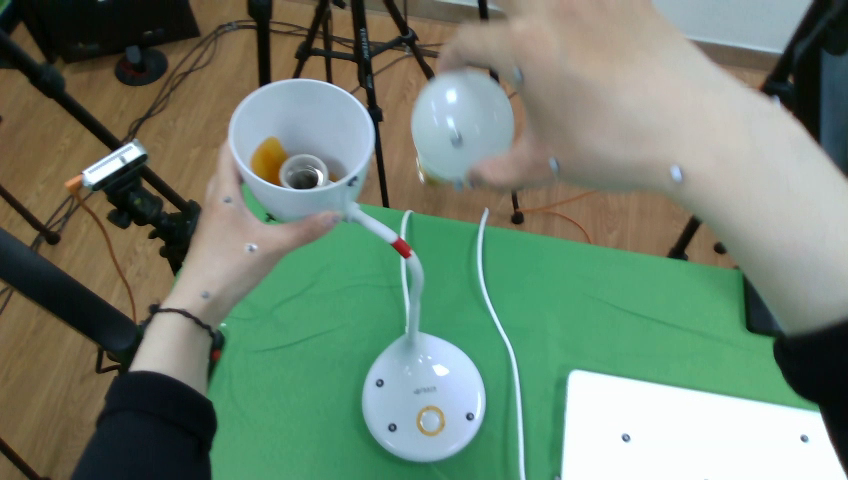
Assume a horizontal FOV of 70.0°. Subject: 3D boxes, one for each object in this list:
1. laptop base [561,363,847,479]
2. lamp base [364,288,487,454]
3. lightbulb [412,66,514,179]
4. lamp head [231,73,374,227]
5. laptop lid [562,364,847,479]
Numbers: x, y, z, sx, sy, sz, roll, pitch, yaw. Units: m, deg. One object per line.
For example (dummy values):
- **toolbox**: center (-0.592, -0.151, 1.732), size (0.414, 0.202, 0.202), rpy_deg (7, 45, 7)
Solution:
- **laptop base**: center (0.346, 0.295, 0.747), size (0.354, 0.023, 0.234), rpy_deg (10, 63, 4)
- **lamp base**: center (-0.001, 0.147, 0.725), size (0.161, 0.182, 0.177), rpy_deg (-17, 60, -11)
- **lightbulb**: center (0.017, -0.065, 0.377), size (0.060, 0.108, 0.059), rpy_deg (4, 75, -14)
- **lamp head**: center (-0.098, -0.062, 0.524), size (0.112, 0.124, 0.111), rpy_deg (2, 60, -2)
- **laptop lid**: center (0.345, 0.291, 0.735), size (0.356, 0.013, 0.240), rpy_deg (11, 62, 5)
